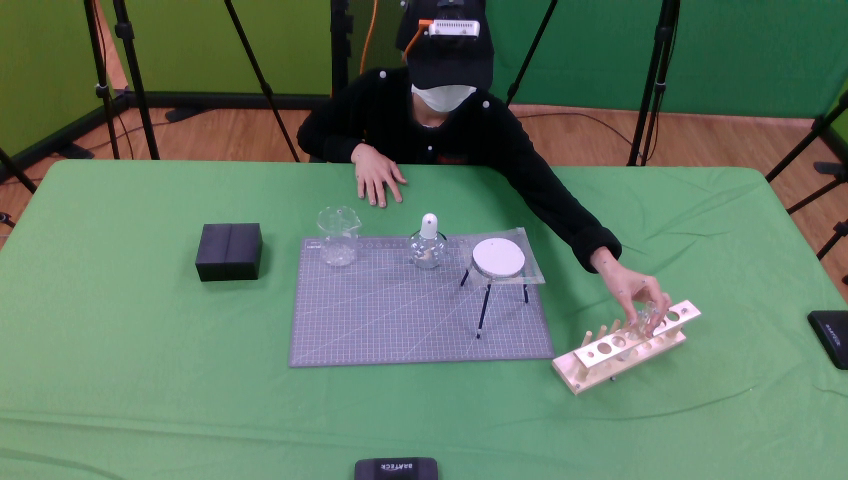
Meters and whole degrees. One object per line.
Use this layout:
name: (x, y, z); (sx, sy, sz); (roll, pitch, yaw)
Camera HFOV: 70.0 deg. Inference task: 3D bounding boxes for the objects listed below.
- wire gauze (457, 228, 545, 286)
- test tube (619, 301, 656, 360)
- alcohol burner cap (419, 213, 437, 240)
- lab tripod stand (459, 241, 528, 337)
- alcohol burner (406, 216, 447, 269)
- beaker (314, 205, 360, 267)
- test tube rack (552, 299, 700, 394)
wire gauze: (0.126, 0.029, 1.006); (0.125, 0.011, 0.120); (-4, 46, -10)
test tube: (0.339, 0.147, 0.969); (0.017, 0.151, 0.017); (2, 47, -2)
alcohol burner cap: (0.009, -0.027, 1.109); (0.034, 0.048, 0.033); (3, 44, -3)
lab tripod stand: (0.122, 0.076, 1.054); (0.148, 0.132, 0.147); (3, 44, -3)
alcohol burner: (0.006, -0.002, 1.134); (0.078, 0.120, 0.077); (2, 48, -2)
beaker: (-0.160, -0.004, 1.132); (0.084, 0.101, 0.073); (9, 46, 3)
test tube rack: (0.339, 0.166, 1.021); (0.242, 0.085, 0.066); (-19, 50, -21)
